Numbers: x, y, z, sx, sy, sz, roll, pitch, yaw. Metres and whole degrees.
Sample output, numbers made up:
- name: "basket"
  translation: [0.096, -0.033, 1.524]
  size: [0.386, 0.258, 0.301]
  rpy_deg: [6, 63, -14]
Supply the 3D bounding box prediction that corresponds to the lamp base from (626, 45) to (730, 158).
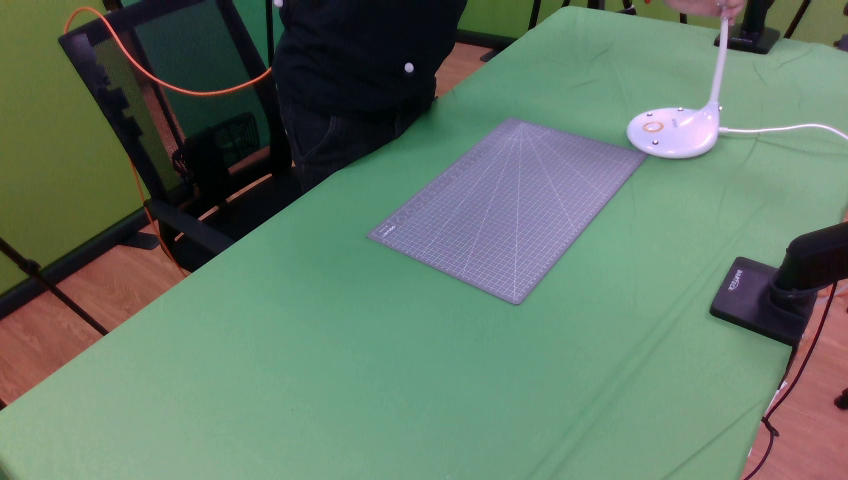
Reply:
- name: "lamp base"
  translation: [0.468, -0.262, 1.086]
  size: [0.179, 0.181, 0.159]
  rpy_deg: [-4, 41, 0]
